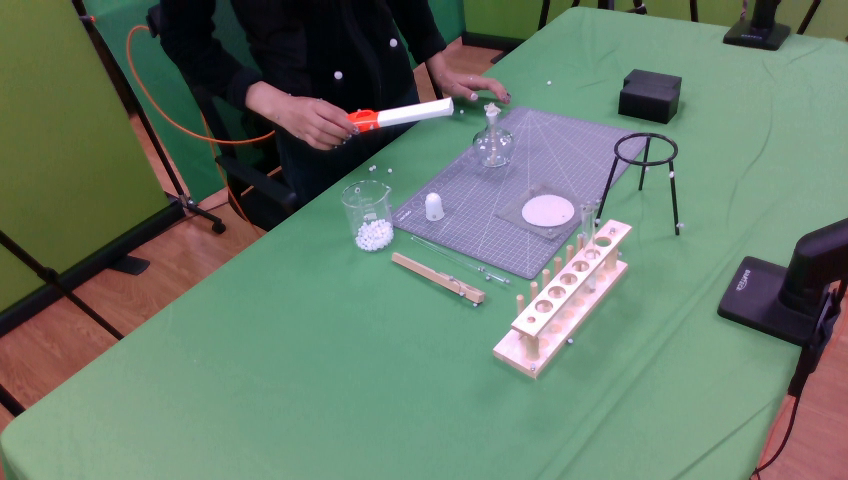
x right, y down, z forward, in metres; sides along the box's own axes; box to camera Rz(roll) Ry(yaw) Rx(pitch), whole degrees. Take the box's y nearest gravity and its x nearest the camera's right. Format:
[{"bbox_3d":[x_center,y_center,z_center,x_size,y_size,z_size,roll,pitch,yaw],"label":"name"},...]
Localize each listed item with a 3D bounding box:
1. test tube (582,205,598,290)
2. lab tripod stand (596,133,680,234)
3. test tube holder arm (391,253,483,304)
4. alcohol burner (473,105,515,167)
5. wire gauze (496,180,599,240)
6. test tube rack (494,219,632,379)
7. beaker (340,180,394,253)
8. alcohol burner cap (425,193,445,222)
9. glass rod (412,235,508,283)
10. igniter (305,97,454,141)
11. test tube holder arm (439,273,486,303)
[{"bbox_3d":[0.220,0.014,0.798,0.017,0.151,0.017,-9,43,9],"label":"test tube"},{"bbox_3d":[0.338,-0.091,0.940,0.148,0.132,0.147,-7,39,6],"label":"lab tripod stand"},{"bbox_3d":[0.016,0.056,0.917,0.177,0.015,0.013,24,17,34],"label":"test tube holder arm"},{"bbox_3d":[0.128,-0.196,1.116,0.078,0.119,0.077,-4,39,4],"label":"alcohol burner"},{"bbox_3d":[0.206,-0.050,1.012,0.125,0.011,0.120,-34,45,-26],"label":"wire gauze"},{"bbox_3d":[0.191,0.068,0.818,0.066,0.085,0.243,25,51,35],"label":"test tube rack"},{"bbox_3d":[-0.087,-0.037,0.985,0.084,0.101,0.073,-18,41,-11],"label":"beaker"},{"bbox_3d":[0.017,-0.058,1.029,0.034,0.048,0.033,-6,40,5],"label":"alcohol burner cap"},{"bbox_3d":[0.051,0.028,0.951,0.198,0.008,0.008,25,51,37],"label":"glass rod"},{"bbox_3d":[-0.083,-0.204,1.026,0.275,0.025,0.057,-6,47,20],"label":"igniter"},{"bbox_3d":[0.053,0.070,0.896,0.087,0.015,0.010,24,17,34],"label":"test tube holder arm"}]
